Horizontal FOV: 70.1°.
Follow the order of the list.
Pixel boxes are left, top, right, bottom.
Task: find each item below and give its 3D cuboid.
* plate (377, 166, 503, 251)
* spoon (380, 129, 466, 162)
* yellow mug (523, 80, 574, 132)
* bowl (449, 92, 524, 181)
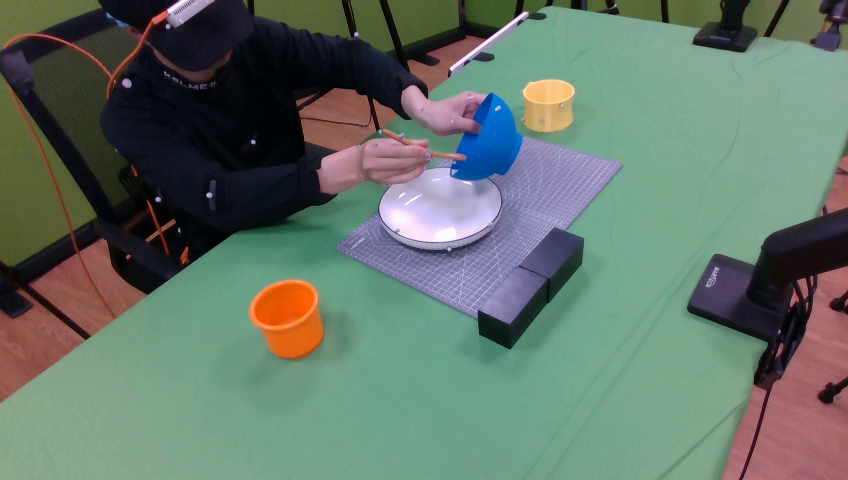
[{"bbox_3d":[0.027,-0.050,1.007,0.209,0.038,0.208,-4,41,4],"label":"plate"},{"bbox_3d":[0.014,-0.135,0.931,0.195,0.021,0.041,12,12,-35],"label":"spoon"},{"bbox_3d":[0.242,-0.278,1.224,0.100,0.064,0.129,-24,42,-18],"label":"yellow mug"},{"bbox_3d":[0.109,-0.153,0.976,0.077,0.151,0.151,25,42,-9],"label":"bowl"}]
